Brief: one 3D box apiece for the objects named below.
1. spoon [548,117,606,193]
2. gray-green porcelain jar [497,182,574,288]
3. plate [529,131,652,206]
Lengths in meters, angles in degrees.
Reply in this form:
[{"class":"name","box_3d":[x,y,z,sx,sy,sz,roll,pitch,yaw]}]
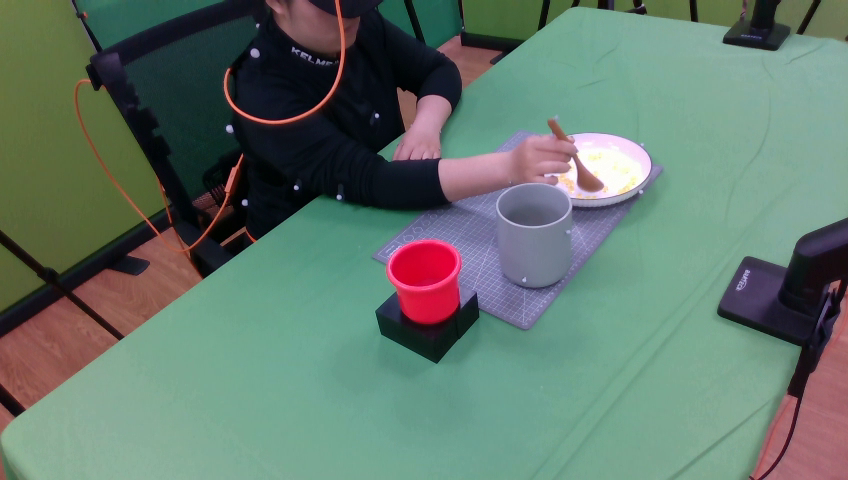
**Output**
[{"class":"spoon","box_3d":[0.230,-0.126,0.922,0.041,0.195,0.021,-6,54,36]},{"class":"gray-green porcelain jar","box_3d":[0.161,-0.003,0.869,0.106,0.127,0.105,-5,40,5]},{"class":"plate","box_3d":[0.287,-0.121,1.056,0.207,0.039,0.206,-5,40,5]}]
